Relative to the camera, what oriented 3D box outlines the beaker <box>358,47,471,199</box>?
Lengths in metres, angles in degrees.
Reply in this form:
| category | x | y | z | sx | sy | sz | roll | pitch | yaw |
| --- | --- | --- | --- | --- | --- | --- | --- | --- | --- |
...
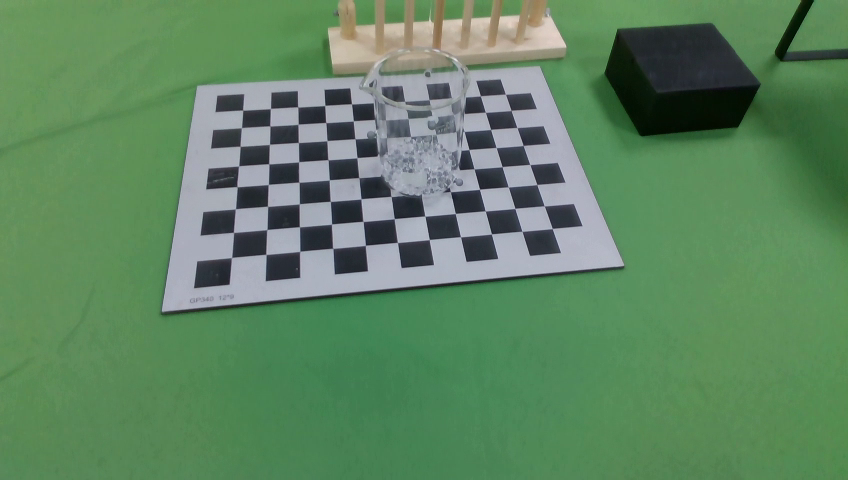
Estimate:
| category | x | y | z | sx | sy | sz | roll | pitch | yaw |
| --- | --- | --- | --- | --- | --- | --- | --- | --- | --- |
| beaker | -0.007 | -0.088 | 0.482 | 0.084 | 0.101 | 0.073 | -5 | 51 | -5 |

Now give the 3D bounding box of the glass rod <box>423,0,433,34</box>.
| category | x | y | z | sx | sy | sz | roll | pitch | yaw |
| --- | --- | --- | --- | --- | --- | --- | --- | --- | --- |
| glass rod | 0.014 | -0.290 | 0.575 | 0.008 | 0.201 | 0.008 | 5 | 46 | -5 |

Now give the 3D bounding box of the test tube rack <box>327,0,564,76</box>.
| category | x | y | z | sx | sy | sz | roll | pitch | yaw |
| --- | --- | --- | --- | --- | --- | --- | --- | --- | --- |
| test tube rack | 0.023 | -0.230 | 0.612 | 0.243 | 0.086 | 0.066 | -6 | 51 | -7 |
